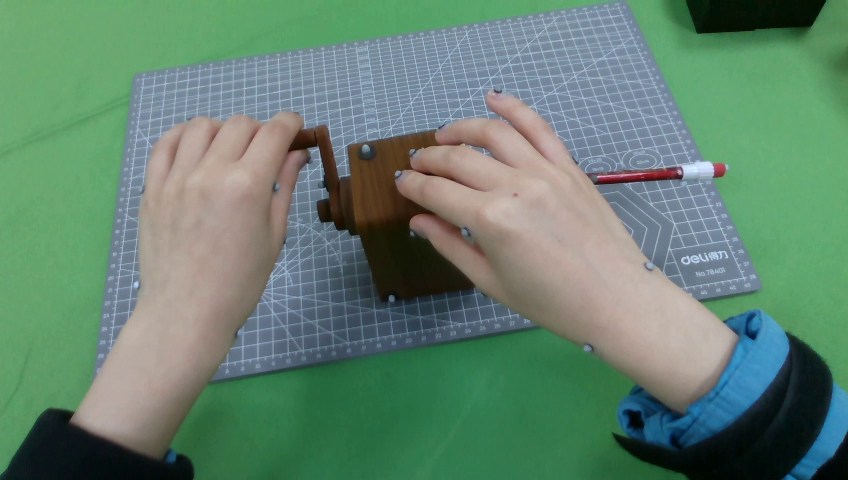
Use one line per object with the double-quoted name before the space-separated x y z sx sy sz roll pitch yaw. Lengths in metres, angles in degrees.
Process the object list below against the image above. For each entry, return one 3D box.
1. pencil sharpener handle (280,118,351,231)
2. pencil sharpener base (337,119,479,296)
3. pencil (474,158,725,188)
"pencil sharpener handle" -0.063 -0.036 0.357 0.030 0.036 0.068 -10 100 -1
"pencil sharpener base" -0.008 -0.016 0.385 0.077 0.108 0.061 -10 60 -1
"pencil" 0.091 -0.040 0.370 0.194 0.012 0.012 -4 60 -6
